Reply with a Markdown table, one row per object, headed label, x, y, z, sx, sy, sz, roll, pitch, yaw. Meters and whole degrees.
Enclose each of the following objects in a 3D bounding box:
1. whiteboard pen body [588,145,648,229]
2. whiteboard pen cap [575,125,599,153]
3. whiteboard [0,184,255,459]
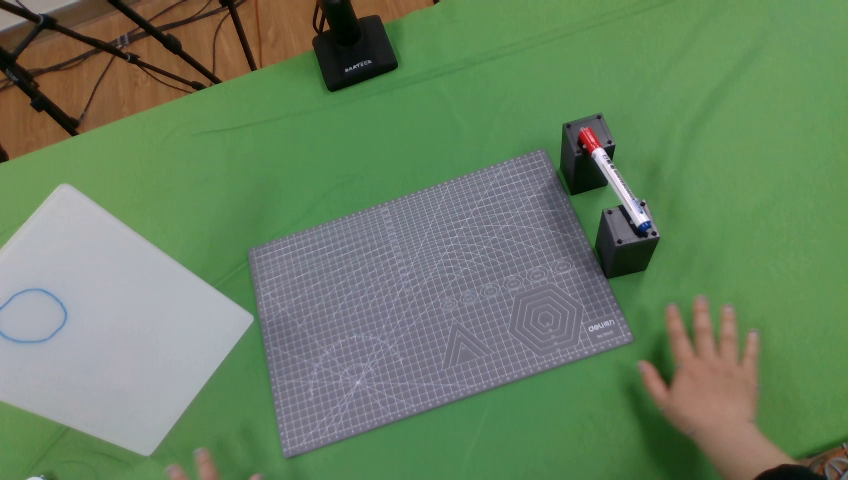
| label | x | y | z | sx | sy | sz | roll | pitch | yaw |
| --- | --- | --- | --- | --- | --- | --- | --- | --- | --- |
| whiteboard pen body | 0.220 | -0.072 | 0.706 | 0.017 | 0.017 | 0.139 | -24 | 65 | -1 |
| whiteboard pen cap | 0.197 | -0.122 | 0.732 | 0.017 | 0.017 | 0.032 | -23 | 66 | -1 |
| whiteboard | -0.401 | 0.091 | 0.727 | 0.142 | 0.309 | 0.216 | 22 | 71 | 40 |
